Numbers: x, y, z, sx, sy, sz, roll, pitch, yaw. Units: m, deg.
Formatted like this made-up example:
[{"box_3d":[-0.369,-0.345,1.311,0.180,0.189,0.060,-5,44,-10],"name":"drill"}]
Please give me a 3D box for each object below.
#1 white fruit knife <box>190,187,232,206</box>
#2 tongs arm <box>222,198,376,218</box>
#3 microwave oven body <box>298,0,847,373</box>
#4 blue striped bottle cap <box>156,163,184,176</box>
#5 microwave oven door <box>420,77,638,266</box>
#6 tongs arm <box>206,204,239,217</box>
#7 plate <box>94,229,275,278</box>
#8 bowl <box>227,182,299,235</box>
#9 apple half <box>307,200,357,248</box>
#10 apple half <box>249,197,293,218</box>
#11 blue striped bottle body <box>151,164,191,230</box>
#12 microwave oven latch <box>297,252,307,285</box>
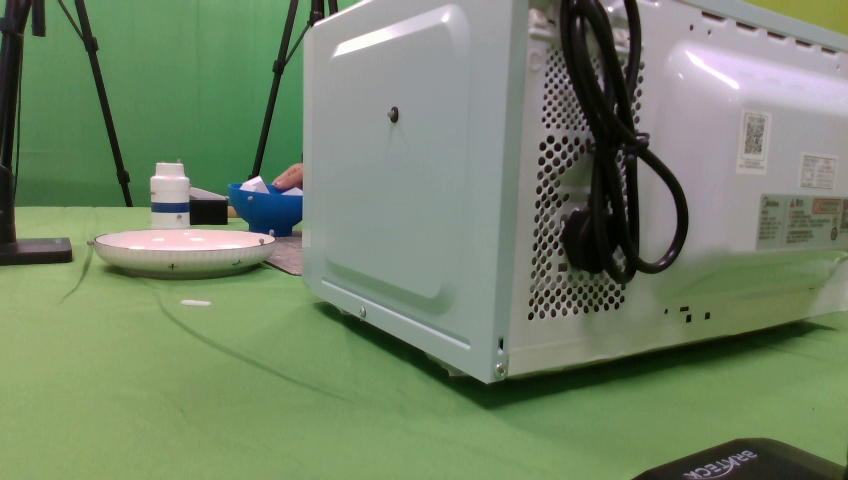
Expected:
[{"box_3d":[-0.413,-0.081,1.270,0.208,0.027,0.016,17,13,-41],"name":"white fruit knife"},{"box_3d":[-0.309,-0.079,1.487,0.385,0.026,0.050,3,7,-2],"name":"tongs arm"},{"box_3d":[0.151,-0.055,0.543,0.444,0.260,0.324,-1,8,-33],"name":"microwave oven body"},{"box_3d":[-0.438,-0.122,1.045,0.044,0.020,0.044,5,6,0],"name":"blue striped bottle cap"},{"box_3d":[0.134,-0.105,0.895,0.354,0.243,0.039,9,10,44],"name":"microwave oven door"},{"box_3d":[-0.302,-0.065,1.407,0.389,0.028,0.028,1,4,-14],"name":"tongs arm"},{"box_3d":[-0.291,0.016,0.749,0.208,0.039,0.207,2,7,0],"name":"plate"},{"box_3d":[-0.270,-0.054,1.065,0.151,0.077,0.151,6,10,-1],"name":"bowl"},{"box_3d":[-0.135,-0.024,0.942,0.053,0.074,0.081,13,9,38],"name":"apple half"},{"box_3d":[-0.268,-0.059,1.064,0.081,0.033,0.081,6,10,-1],"name":"apple half"},{"box_3d":[-0.439,-0.071,1.052,0.063,0.120,0.063,2,7,0],"name":"blue striped bottle body"},{"box_3d":[-0.082,0.027,0.582,0.079,0.029,0.030,-1,7,-32],"name":"microwave oven latch"}]
